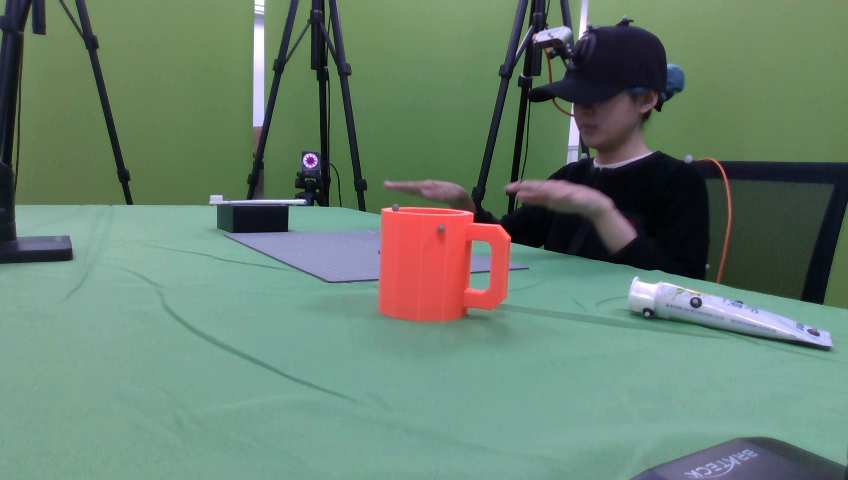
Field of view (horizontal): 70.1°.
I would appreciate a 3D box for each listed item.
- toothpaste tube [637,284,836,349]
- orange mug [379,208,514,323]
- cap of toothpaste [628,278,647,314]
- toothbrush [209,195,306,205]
[{"bbox_3d":[0.275,0.070,0.550,0.164,0.034,0.055,11,15,28],"label":"toothpaste tube"},{"bbox_3d":[0.019,0.021,0.557,0.126,0.100,0.084,1,6,20],"label":"orange mug"},{"bbox_3d":[0.209,0.055,0.589,0.011,0.037,0.037,11,11,28],"label":"cap of toothpaste"},{"bbox_3d":[-0.303,-0.073,1.117,0.183,0.016,0.014,-2,6,-36],"label":"toothbrush"}]
